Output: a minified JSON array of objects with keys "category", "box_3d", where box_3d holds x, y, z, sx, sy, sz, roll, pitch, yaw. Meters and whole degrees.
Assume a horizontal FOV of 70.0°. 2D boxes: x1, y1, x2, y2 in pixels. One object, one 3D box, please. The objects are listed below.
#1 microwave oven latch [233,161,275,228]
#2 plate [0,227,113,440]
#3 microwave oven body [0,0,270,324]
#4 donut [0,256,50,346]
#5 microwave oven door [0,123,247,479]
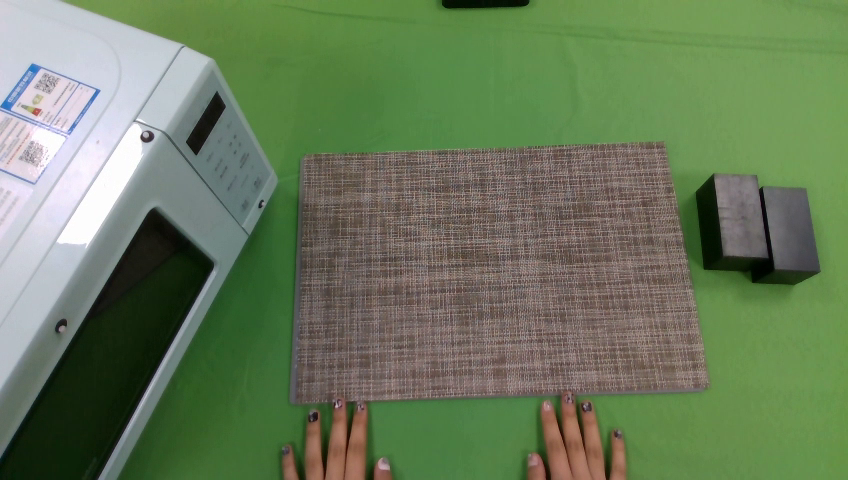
[{"category":"microwave oven latch","box_3d":[-0.200,-0.056,0.698,0.030,0.029,0.079,22,73,6]},{"category":"plate","box_3d":[-0.396,0.089,0.588,0.209,0.038,0.207,-3,69,8]},{"category":"microwave oven body","box_3d":[-0.406,0.012,0.571,0.325,0.261,0.440,22,73,6]},{"category":"donut","box_3d":[-0.426,0.061,0.603,0.099,0.048,0.098,2,55,-3]},{"category":"microwave oven door","box_3d":[-0.287,0.100,0.536,0.039,0.245,0.354,21,72,8]}]
